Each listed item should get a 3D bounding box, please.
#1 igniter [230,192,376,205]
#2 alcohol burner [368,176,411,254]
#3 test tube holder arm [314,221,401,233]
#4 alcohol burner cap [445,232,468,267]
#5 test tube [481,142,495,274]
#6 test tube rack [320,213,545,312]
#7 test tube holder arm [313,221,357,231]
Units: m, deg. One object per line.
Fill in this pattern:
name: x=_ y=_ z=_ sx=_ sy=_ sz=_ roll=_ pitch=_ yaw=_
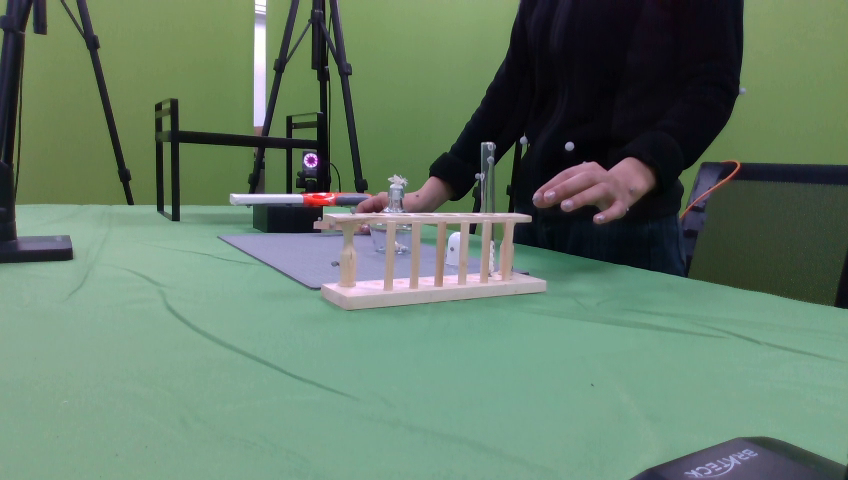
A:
igniter: x=-0.226 y=-0.079 z=1.161 sx=0.278 sy=0.025 sz=0.057 roll=-2 pitch=15 yaw=-28
alcohol burner: x=-0.045 y=-0.038 z=0.913 sx=0.078 sy=0.119 sz=0.078 roll=5 pitch=7 yaw=0
test tube holder arm: x=-0.119 y=-0.023 z=1.116 sx=0.179 sy=0.015 sz=0.013 roll=3 pitch=2 yaw=-34
alcohol burner cap: x=0.045 y=0.013 z=0.829 sx=0.034 sy=0.048 sz=0.034 roll=3 pitch=7 yaw=0
test tube: x=0.072 y=-0.036 z=0.686 sx=0.017 sy=0.150 sz=0.017 roll=-1 pitch=5 yaw=0
test tube rack: x=0.017 y=0.017 z=0.638 sx=0.244 sy=0.085 sz=0.066 roll=-2 pitch=9 yaw=-31
test tube holder arm: x=-0.160 y=-0.025 z=1.096 sx=0.088 sy=0.015 sz=0.010 roll=3 pitch=2 yaw=-33
